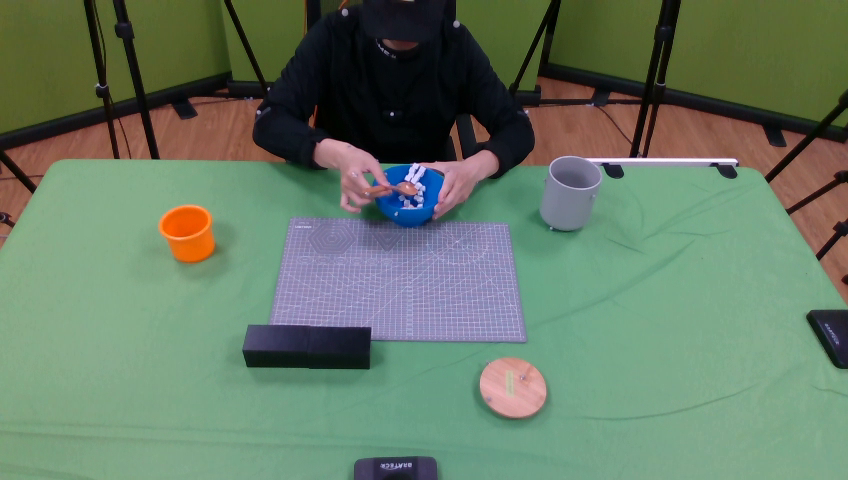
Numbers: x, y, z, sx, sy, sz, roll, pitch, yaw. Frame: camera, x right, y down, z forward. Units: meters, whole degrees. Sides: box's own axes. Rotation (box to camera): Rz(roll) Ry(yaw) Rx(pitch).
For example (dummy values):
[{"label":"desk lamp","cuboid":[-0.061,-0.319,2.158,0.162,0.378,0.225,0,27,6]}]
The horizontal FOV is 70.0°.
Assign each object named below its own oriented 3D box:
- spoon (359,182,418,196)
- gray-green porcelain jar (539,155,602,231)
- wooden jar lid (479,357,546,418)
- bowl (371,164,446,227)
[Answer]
[{"label":"spoon","cuboid":[-0.068,-0.099,1.170,0.041,0.021,0.194,42,21,19]},{"label":"gray-green porcelain jar","cuboid":[0.294,-0.091,1.235,0.106,0.127,0.105,2,46,-2]},{"label":"wooden jar lid","cuboid":[0.142,0.240,0.979,0.108,0.021,0.107,1,46,-1]},{"label":"bowl","cuboid":[-0.033,-0.079,1.230,0.151,0.077,0.150,2,42,-2]}]
